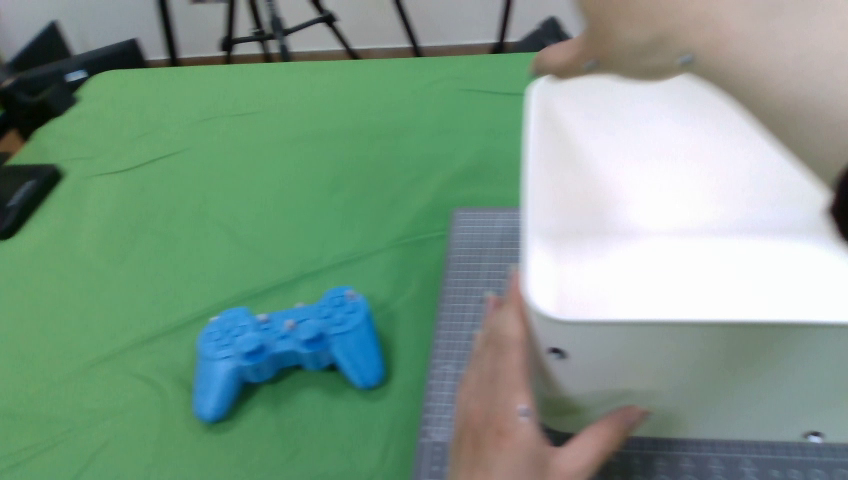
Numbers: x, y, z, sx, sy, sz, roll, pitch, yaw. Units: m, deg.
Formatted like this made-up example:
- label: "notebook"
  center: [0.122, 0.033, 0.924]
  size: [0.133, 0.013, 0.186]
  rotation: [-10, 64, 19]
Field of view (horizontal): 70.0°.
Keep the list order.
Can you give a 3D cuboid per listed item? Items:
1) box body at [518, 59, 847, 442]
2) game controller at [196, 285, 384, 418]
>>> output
- label: "box body"
  center: [0.254, 0.005, 0.449]
  size: [0.363, 0.162, 0.252]
  rotation: [0, 46, 9]
- label: "game controller"
  center: [-0.116, 0.087, 0.514]
  size: [0.155, 0.052, 0.096]
  rotation: [-10, 42, -2]
